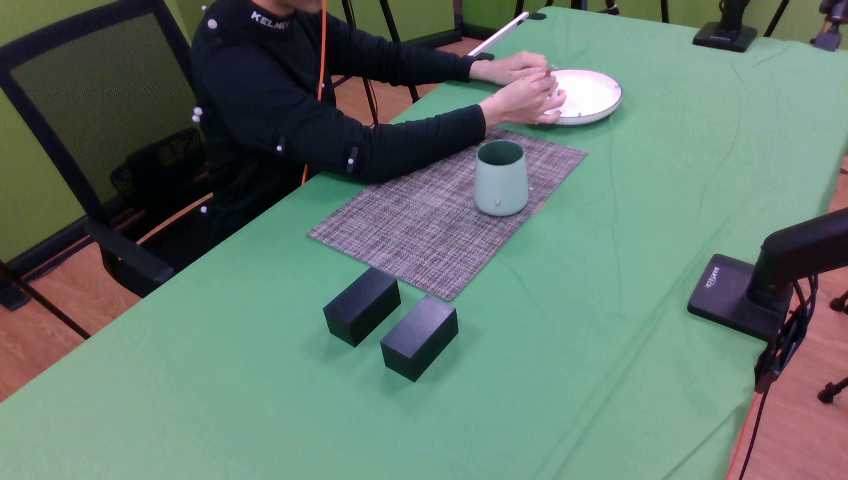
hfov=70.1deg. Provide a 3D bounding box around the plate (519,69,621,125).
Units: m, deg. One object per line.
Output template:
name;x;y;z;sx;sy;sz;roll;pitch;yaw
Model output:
plate;0.300;-0.293;1.253;0.209;0.038;0.208;-4;41;4

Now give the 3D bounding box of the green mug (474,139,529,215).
green mug;0.126;-0.113;1.013;0.092;0.105;0.124;-8;41;0

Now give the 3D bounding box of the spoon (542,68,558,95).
spoon;0.250;-0.320;1.214;0.041;0.194;0.021;-39;82;12
